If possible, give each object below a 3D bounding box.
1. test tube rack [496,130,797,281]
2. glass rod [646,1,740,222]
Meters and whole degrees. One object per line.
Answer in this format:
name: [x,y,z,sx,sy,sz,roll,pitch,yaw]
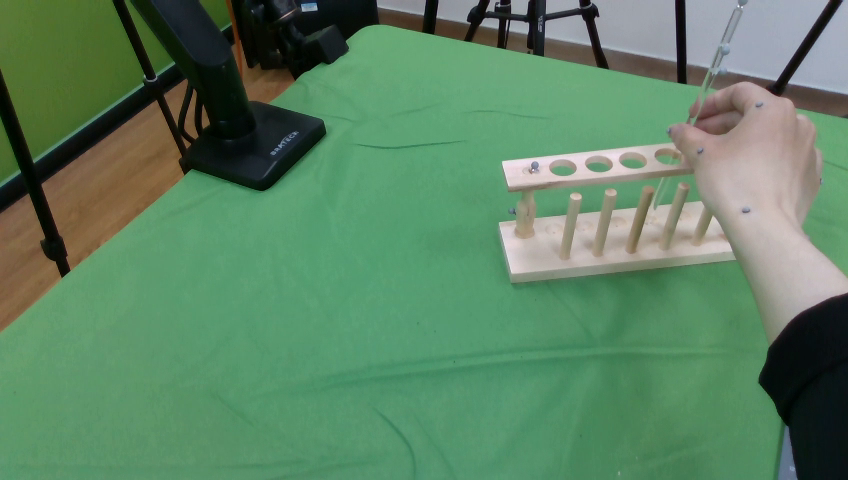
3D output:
test tube rack: [0.188,-0.029,0.522,0.242,0.086,0.066,-6,46,-2]
glass rod: [0.212,-0.091,0.487,0.008,0.201,0.008,3,42,-2]
